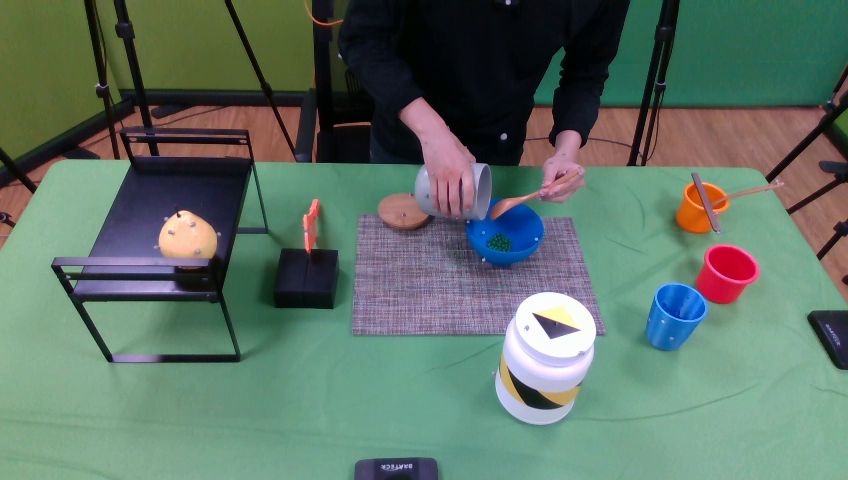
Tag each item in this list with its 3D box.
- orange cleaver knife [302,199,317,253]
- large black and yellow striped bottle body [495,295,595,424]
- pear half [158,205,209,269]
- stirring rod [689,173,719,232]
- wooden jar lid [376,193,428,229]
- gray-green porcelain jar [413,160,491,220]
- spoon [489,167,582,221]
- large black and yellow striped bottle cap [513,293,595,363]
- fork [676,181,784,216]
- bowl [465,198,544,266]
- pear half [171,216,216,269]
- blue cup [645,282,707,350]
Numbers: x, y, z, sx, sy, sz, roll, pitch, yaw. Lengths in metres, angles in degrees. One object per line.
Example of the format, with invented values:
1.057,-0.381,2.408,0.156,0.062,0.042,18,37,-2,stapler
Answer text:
-0.219,-0.031,1.168,0.012,0.077,0.210,-5,17,-3,orange cleaver knife
0.183,0.182,0.923,0.131,0.185,0.130,2,46,-2,large black and yellow striped bottle body
-0.352,-0.015,0.872,0.056,0.110,0.076,26,46,19,pear half
0.566,-0.079,1.225,0.014,0.006,0.175,2,45,2,stirring rod
-0.044,-0.059,1.246,0.108,0.021,0.107,3,40,-3,wooden jar lid
0.051,-0.095,1.131,0.126,0.106,0.105,6,45,19,gray-green porcelain jar
0.196,-0.084,1.091,0.193,0.022,0.041,-25,32,25,spoon
0.186,0.123,0.863,0.115,0.019,0.114,3,45,-3,large black and yellow striped bottle cap
0.618,-0.084,1.235,0.207,0.019,0.028,-23,20,38,fork
0.149,-0.004,1.167,0.151,0.077,0.150,2,46,-2,bowl
-0.323,0.007,0.866,0.031,0.088,0.070,25,46,20,pear half
0.425,0.136,1.042,0.093,0.101,0.092,1,45,-1,blue cup
